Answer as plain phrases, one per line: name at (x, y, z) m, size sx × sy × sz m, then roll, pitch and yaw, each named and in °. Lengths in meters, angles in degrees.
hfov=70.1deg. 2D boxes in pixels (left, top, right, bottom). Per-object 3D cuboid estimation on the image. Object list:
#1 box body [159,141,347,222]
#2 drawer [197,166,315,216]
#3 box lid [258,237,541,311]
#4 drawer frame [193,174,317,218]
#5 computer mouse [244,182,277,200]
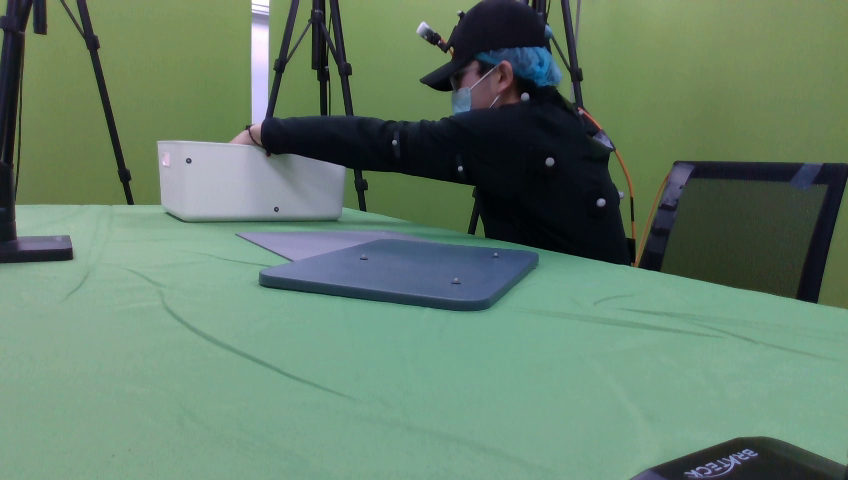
box body at (-0.384, -0.133, 1.359) m, size 0.366 × 0.160 × 0.253 m, roll -2°, pitch 9°, yaw -33°
drawer at (-0.381, -0.107, 1.364) m, size 0.195 × 0.073 × 0.211 m, roll -9°, pitch -3°, yaw -38°
box lid at (-0.004, 0.033, 0.774) m, size 0.262 × 0.015 × 0.372 m, roll 5°, pitch 8°, yaw 19°
drawer frame at (-0.382, -0.104, 1.364) m, size 0.203 × 0.082 × 0.212 m, roll -9°, pitch 12°, yaw -42°
computer mouse at (-0.335, -0.102, 1.281) m, size 0.062 × 0.041 × 0.117 m, roll 1°, pitch 1°, yaw 19°
